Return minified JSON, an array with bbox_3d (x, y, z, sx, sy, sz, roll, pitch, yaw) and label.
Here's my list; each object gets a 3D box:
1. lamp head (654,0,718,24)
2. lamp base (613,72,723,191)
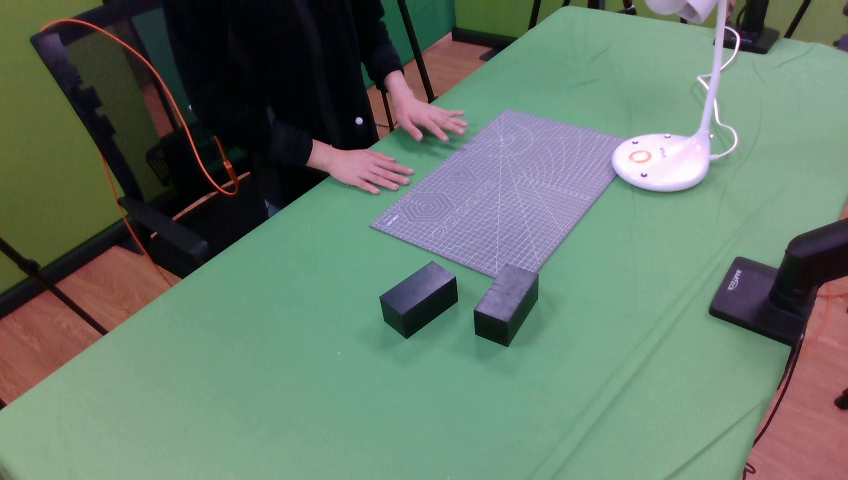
[{"bbox_3d":[0.356,-0.361,0.788,0.123,0.113,0.111,-51,42,13],"label":"lamp head"},{"bbox_3d":[0.423,-0.198,1.020,0.179,0.181,0.159,-6,42,-3],"label":"lamp base"}]
